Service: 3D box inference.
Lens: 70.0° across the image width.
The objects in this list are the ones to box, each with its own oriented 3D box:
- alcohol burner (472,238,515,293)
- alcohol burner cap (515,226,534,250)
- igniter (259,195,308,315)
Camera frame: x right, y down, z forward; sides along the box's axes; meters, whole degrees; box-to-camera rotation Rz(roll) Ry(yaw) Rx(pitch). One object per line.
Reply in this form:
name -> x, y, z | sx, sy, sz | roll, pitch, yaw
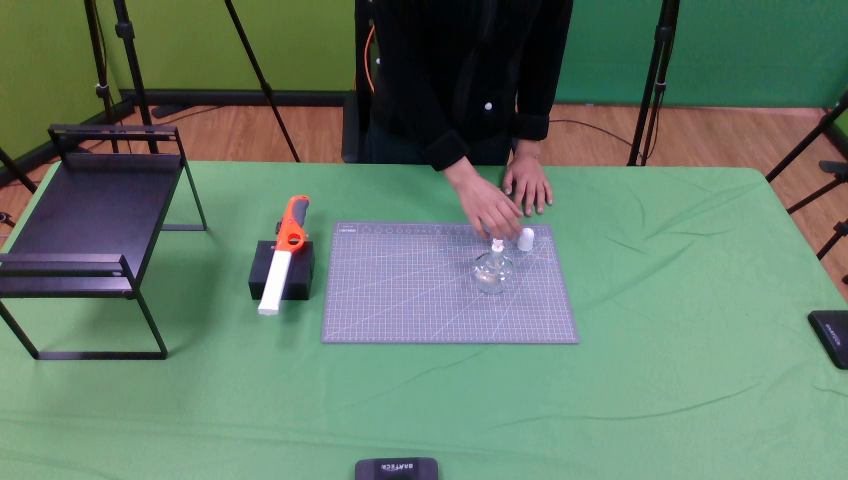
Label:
alcohol burner -> 0.128, 0.041, 1.102 | 0.078, 0.120, 0.077 | 1, 47, -1
alcohol burner cap -> 0.201, -0.007, 1.202 | 0.034, 0.048, 0.033 | 4, 45, -4
igniter -> -0.252, 0.016, 1.094 | 0.057, 0.025, 0.275 | 6, 48, -3
